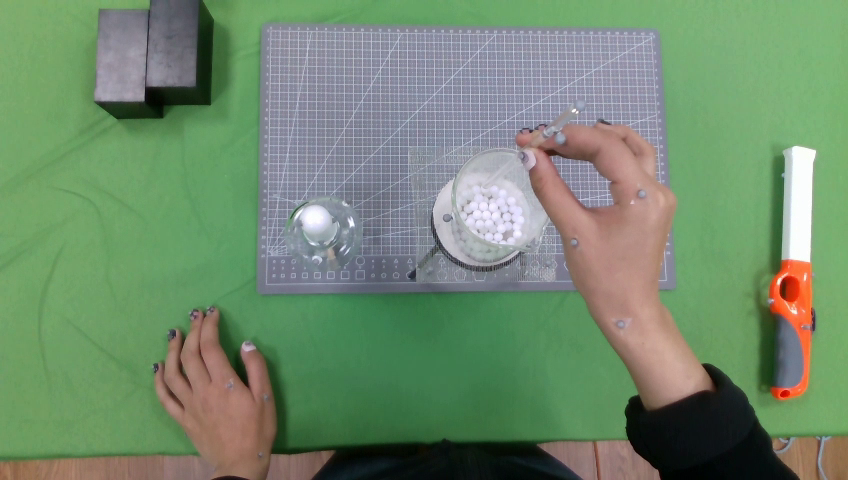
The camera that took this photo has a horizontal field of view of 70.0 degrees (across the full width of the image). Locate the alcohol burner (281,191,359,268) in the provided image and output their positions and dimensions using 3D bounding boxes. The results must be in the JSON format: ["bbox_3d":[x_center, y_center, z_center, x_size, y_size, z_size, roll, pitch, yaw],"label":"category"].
[{"bbox_3d":[-0.103,-0.013,0.592,0.078,0.119,0.077,1,80,-3],"label":"alcohol burner"}]

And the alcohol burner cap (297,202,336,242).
[{"bbox_3d":[-0.101,-0.018,0.556,0.034,0.048,0.033,0,78,-1],"label":"alcohol burner cap"}]

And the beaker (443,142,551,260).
[{"bbox_3d":[0.054,-0.023,0.477,0.074,0.100,0.084,-33,84,-7],"label":"beaker"}]

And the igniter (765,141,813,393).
[{"bbox_3d":[0.400,0.028,0.662,0.057,0.025,0.275,9,82,-13],"label":"igniter"}]

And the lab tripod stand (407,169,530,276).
[{"bbox_3d":[0.044,-0.014,0.591,0.148,0.132,0.148,0,81,-1],"label":"lab tripod stand"}]

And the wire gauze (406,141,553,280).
[{"bbox_3d":[0.048,-0.026,0.526,0.125,0.011,0.121,-1,81,-1],"label":"wire gauze"}]

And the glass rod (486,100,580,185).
[{"bbox_3d":[0.066,-0.059,0.409,0.008,0.200,0.008,1,83,-7],"label":"glass rod"}]
